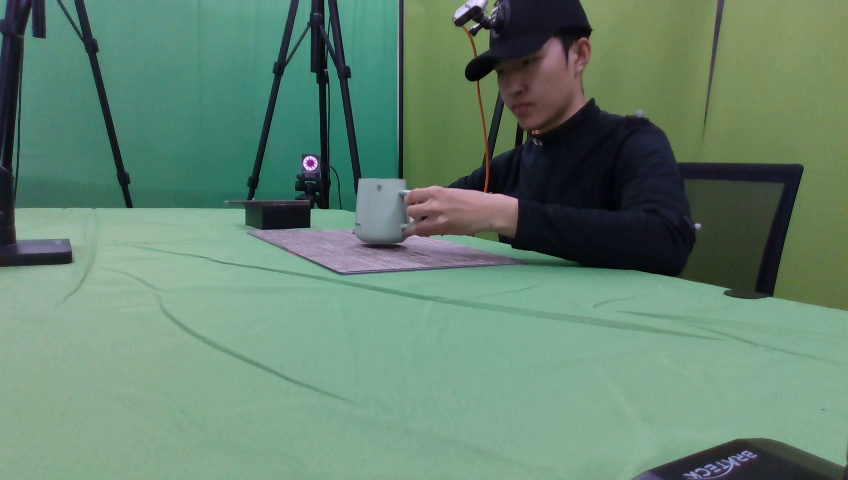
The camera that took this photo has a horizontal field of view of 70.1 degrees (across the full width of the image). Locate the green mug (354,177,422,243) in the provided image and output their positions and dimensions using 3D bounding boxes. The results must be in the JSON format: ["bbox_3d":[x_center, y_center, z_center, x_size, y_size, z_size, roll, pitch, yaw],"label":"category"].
[{"bbox_3d":[-0.056,-0.050,0.988,0.125,0.105,0.093,6,8,36],"label":"green mug"}]

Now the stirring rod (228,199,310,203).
[{"bbox_3d":[-0.314,-0.081,1.239,0.177,0.006,0.014,-5,10,-40],"label":"stirring rod"}]
